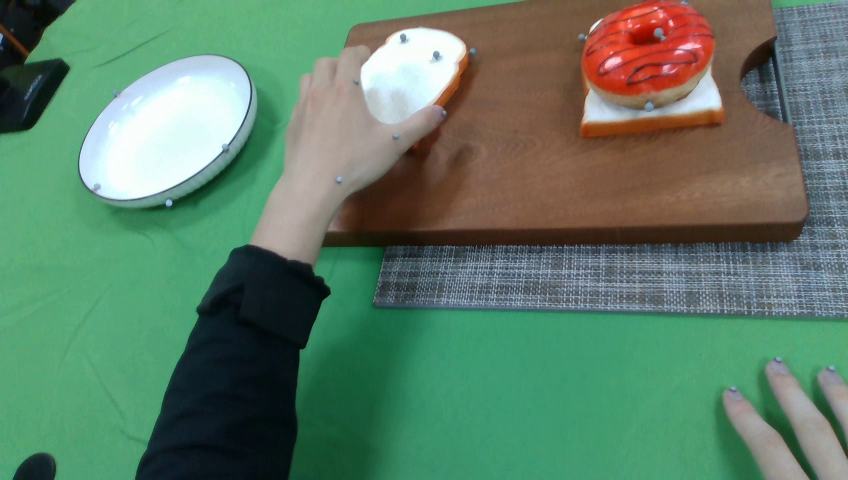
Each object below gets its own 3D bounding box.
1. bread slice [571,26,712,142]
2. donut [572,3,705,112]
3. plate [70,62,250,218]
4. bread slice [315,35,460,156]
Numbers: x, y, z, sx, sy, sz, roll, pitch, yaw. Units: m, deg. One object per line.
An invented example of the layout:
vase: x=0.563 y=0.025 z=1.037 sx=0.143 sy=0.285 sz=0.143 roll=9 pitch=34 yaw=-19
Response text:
bread slice: x=0.173 y=-0.140 z=0.503 sx=0.104 sy=0.019 sz=0.130 roll=-4 pitch=58 yaw=15
donut: x=0.164 y=-0.143 z=0.471 sx=0.099 sy=0.049 sz=0.098 roll=-10 pitch=56 yaw=15
plate: x=-0.279 y=-0.106 z=0.657 sx=0.209 sy=0.038 sz=0.207 roll=-9 pitch=56 yaw=14
bread slice: x=-0.028 y=-0.140 z=0.571 sx=0.106 sy=0.018 sz=0.134 roll=17 pitch=66 yaw=27
